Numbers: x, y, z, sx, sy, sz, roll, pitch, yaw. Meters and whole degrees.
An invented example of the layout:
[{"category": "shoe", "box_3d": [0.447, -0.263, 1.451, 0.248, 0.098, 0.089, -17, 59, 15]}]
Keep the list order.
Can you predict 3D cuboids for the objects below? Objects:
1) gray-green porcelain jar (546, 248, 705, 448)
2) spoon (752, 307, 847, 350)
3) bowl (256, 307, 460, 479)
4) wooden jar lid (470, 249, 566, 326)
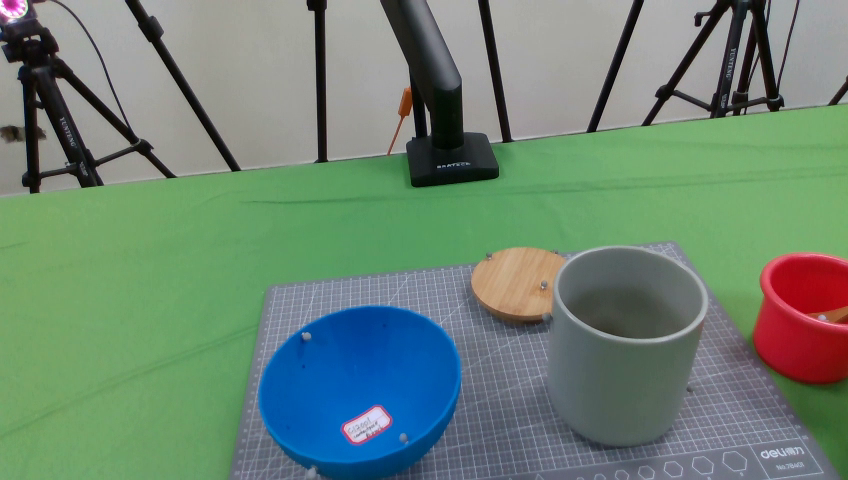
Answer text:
[{"category": "gray-green porcelain jar", "box_3d": [0.148, 0.086, 0.465, 0.106, 0.127, 0.105, -3, 37, 3]}, {"category": "spoon", "box_3d": [0.358, 0.053, 0.476, 0.022, 0.194, 0.041, 49, 45, -7]}, {"category": "bowl", "box_3d": [-0.045, 0.130, 0.469, 0.151, 0.077, 0.150, -3, 37, 3]}, {"category": "wooden jar lid", "box_3d": [0.101, 0.049, 0.613, 0.108, 0.021, 0.107, -4, 35, 3]}]
